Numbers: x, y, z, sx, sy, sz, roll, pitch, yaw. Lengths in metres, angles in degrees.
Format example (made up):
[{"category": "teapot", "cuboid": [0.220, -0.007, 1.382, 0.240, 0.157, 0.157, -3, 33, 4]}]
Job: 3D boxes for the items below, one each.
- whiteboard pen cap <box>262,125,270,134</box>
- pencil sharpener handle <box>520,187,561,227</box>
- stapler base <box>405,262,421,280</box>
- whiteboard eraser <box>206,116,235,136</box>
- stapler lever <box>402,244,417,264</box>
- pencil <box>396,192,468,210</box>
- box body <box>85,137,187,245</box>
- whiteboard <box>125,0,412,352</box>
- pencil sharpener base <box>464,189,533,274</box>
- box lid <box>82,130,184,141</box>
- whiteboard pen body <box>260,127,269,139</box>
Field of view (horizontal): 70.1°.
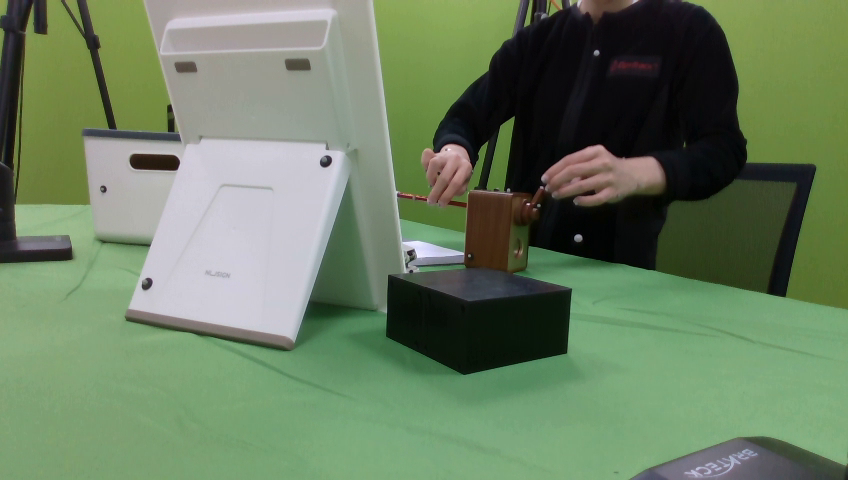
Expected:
[{"category": "whiteboard pen cap", "cuboid": [-0.349, -0.244, 1.336, 0.018, 0.018, 0.033, 0, 2, -17]}, {"category": "pencil sharpener handle", "cuboid": [0.153, -0.045, 0.788, 0.030, 0.036, 0.068, 8, 50, 35]}, {"category": "stapler base", "cuboid": [-0.069, 0.027, 0.759, 0.130, 0.024, 0.041, 9, 14, 23]}, {"category": "whiteboard eraser", "cuboid": [-0.450, -0.252, 1.335, 0.056, 0.042, 0.112, 1, 7, -22]}, {"category": "stapler lever", "cuboid": [-0.066, 0.003, 0.755, 0.117, 0.040, 0.027, 9, 13, 23]}, {"category": "pencil", "cuboid": [0.015, -0.056, 0.876, 0.193, 0.012, 0.012, 12, 12, 36]}, {"category": "box body", "cuboid": [-0.340, -0.088, 1.022, 0.254, 0.160, 0.364, 4, 7, 11]}, {"category": "whiteboard", "cuboid": [-0.151, -0.049, 0.472, 0.216, 0.305, 0.144, 6, 27, 24]}, {"category": "pencil sharpener base", "cuboid": [0.103, -0.012, 0.813, 0.076, 0.107, 0.061, 8, 9, 35]}, {"category": "box lid", "cuboid": [-0.337, -0.161, 1.011, 0.263, 0.015, 0.372, 4, 6, 11]}, {"category": "whiteboard pen body", "cuboid": [-0.366, -0.247, 1.392, 0.017, 0.017, 0.140, 0, 3, -17]}]
